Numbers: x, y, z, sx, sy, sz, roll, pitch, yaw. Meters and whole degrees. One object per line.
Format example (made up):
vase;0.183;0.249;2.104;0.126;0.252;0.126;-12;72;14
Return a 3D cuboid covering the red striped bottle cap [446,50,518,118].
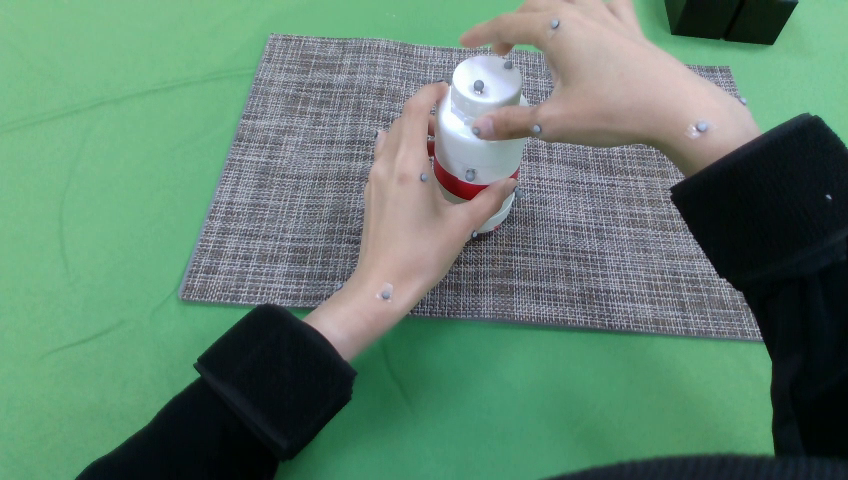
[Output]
red striped bottle cap;0.036;-0.097;0.376;0.044;0.018;0.044;2;58;-2

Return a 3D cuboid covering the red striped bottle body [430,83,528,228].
red striped bottle body;0.036;-0.066;0.420;0.063;0.120;0.062;1;56;-1
